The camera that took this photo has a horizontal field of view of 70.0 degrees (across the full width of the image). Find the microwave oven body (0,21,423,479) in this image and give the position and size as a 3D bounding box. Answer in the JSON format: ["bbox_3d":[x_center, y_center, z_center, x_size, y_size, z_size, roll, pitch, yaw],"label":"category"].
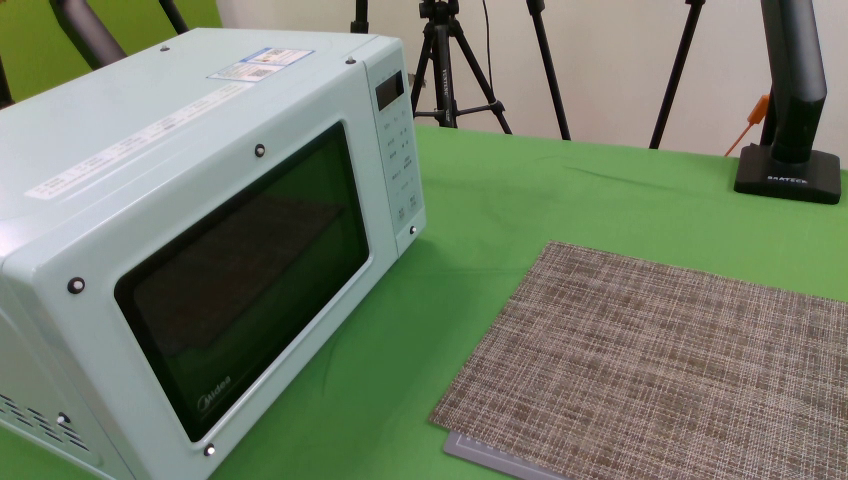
[{"bbox_3d":[-0.249,-0.028,0.627,0.324,0.262,0.440,12,40,25],"label":"microwave oven body"}]

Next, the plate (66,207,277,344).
[{"bbox_3d":[-0.253,0.036,0.628,0.209,0.038,0.207,-6,34,4],"label":"plate"}]

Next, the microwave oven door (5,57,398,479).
[{"bbox_3d":[-0.139,0.016,0.532,0.039,0.246,0.354,11,39,26],"label":"microwave oven door"}]

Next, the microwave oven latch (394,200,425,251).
[{"bbox_3d":[-0.026,-0.020,0.743,0.030,0.030,0.079,13,40,26],"label":"microwave oven latch"}]

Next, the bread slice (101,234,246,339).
[{"bbox_3d":[-0.256,0.038,0.633,0.104,0.019,0.131,20,47,32],"label":"bread slice"}]
